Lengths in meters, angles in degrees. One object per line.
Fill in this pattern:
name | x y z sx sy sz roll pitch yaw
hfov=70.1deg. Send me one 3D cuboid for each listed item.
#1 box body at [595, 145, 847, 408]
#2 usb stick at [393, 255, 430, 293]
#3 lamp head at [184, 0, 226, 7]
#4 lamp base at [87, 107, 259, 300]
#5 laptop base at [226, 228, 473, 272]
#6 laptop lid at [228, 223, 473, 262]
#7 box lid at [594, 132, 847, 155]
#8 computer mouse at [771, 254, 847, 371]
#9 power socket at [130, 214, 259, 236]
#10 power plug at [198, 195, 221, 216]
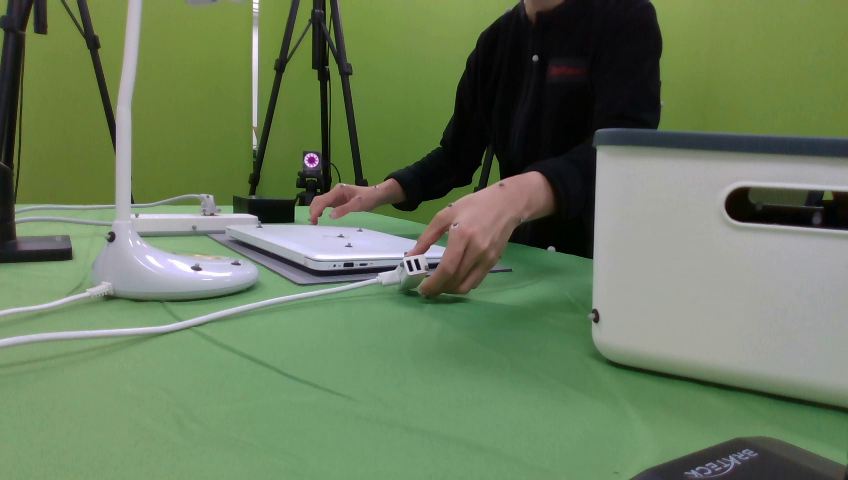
box body | 0.309 0.007 0.509 0.253 0.160 0.366 6 8 29
usb stick | -0.015 0.038 0.634 0.027 0.021 0.059 -14 -22 -22
lamp head | -0.229 -0.320 0.627 0.112 0.112 0.123 6 -35 26
lamp base | -0.254 -0.039 0.603 0.160 0.180 0.179 4 10 18
laptop base | -0.125 0.011 0.889 0.237 0.023 0.352 1 7 -35
laptop lid | -0.123 0.000 0.888 0.243 0.013 0.355 1 7 -33
box lid | 0.310 -0.066 0.499 0.262 0.015 0.373 7 8 29
computer mouse | 0.344 0.057 0.519 0.063 0.041 0.117 12 47 3
power socket | -0.397 -0.028 1.048 0.228 0.032 0.072 -3 7 -35
power plug | -0.385 -0.055 1.088 0.035 0.052 0.072 -2 6 -24
